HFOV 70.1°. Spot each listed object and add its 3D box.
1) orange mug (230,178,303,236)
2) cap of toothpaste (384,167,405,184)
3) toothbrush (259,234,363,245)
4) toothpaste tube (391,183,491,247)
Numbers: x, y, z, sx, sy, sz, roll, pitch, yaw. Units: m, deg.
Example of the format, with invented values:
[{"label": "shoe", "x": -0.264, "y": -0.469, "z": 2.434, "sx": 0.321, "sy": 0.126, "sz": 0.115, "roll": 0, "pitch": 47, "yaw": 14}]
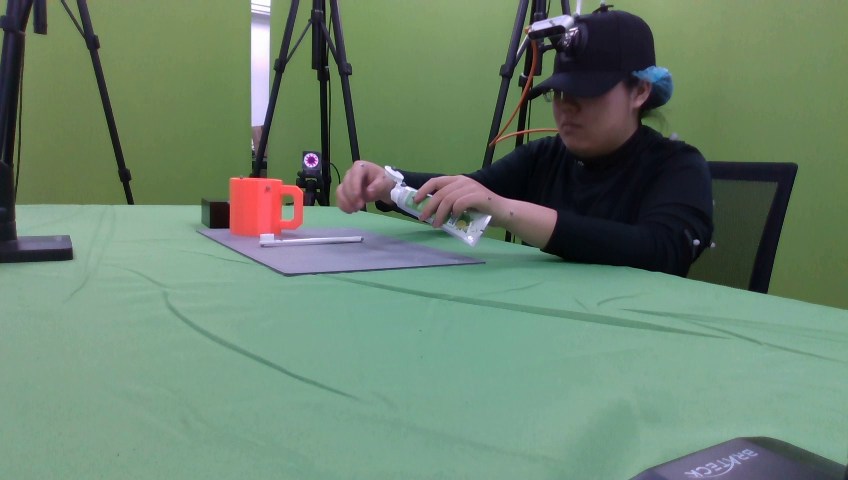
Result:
[{"label": "orange mug", "x": -0.275, "y": -0.060, "z": 1.058, "sx": 0.126, "sy": 0.101, "sz": 0.083, "roll": -2, "pitch": 8, "yaw": -5}, {"label": "cap of toothpaste", "x": -0.047, "y": -0.100, "z": 0.934, "sx": 0.037, "sy": 0.011, "sz": 0.037, "roll": 28, "pitch": 23, "yaw": -13}, {"label": "toothbrush", "x": -0.175, "y": -0.002, "z": 0.958, "sx": 0.183, "sy": 0.016, "sz": 0.014, "roll": -1, "pitch": -4, "yaw": -39}, {"label": "toothpaste tube", "x": 0.018, "y": -0.045, "z": 0.901, "sx": 0.164, "sy": 0.055, "sz": 0.034, "roll": 27, "pitch": -5, "yaw": 25}]
